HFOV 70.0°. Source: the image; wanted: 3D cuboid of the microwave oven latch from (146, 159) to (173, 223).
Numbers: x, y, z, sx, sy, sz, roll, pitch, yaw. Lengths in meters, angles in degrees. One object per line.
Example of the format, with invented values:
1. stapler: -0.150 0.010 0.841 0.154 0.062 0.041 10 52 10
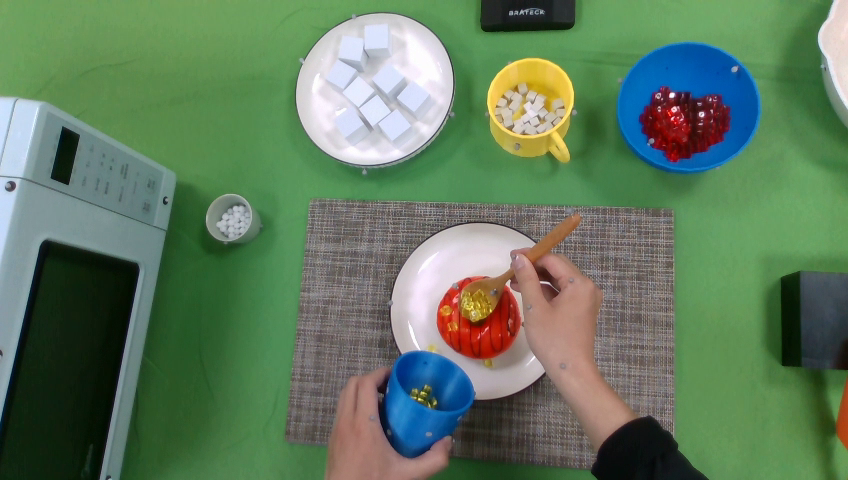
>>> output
1. microwave oven latch: -0.347 -0.063 0.781 0.030 0.029 0.079 8 82 9

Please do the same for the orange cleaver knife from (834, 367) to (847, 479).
1. orange cleaver knife: 0.436 0.191 0.614 0.012 0.077 0.212 2 109 10

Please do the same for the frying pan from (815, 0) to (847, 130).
1. frying pan: 0.563 -0.105 0.635 0.306 0.103 0.485 8 73 11

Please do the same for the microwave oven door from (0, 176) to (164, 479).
1. microwave oven door: -0.393 0.133 0.649 0.039 0.245 0.354 5 81 10

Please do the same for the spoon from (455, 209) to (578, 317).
1. spoon: 0.090 0.027 0.611 0.021 0.194 0.041 -29 78 -41

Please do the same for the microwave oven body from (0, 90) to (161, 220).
1. microwave oven body: -0.529 0.078 0.685 0.325 0.261 0.440 6 81 9

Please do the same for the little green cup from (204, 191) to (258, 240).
1. little green cup: -0.245 -0.029 0.778 0.061 0.039 0.061 -1 81 8

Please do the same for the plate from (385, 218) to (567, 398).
1. plate: 0.060 0.078 0.709 0.209 0.038 0.208 -1 80 9

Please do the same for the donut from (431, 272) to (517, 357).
1. donut: 0.058 0.085 0.697 0.099 0.048 0.099 -1 83 10

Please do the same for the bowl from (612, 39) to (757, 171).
1. bowl: 0.289 -0.143 0.697 0.151 0.077 0.151 -2 80 9

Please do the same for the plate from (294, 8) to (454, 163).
1. plate: -0.062 -0.195 0.780 0.207 0.039 0.207 -2 80 9

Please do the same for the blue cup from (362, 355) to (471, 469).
1. blue cup: -0.015 0.179 0.604 0.092 0.093 0.100 44 127 14

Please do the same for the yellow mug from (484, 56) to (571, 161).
1. yellow mug: 0.133 -0.149 0.728 0.100 0.064 0.130 -34 78 1
